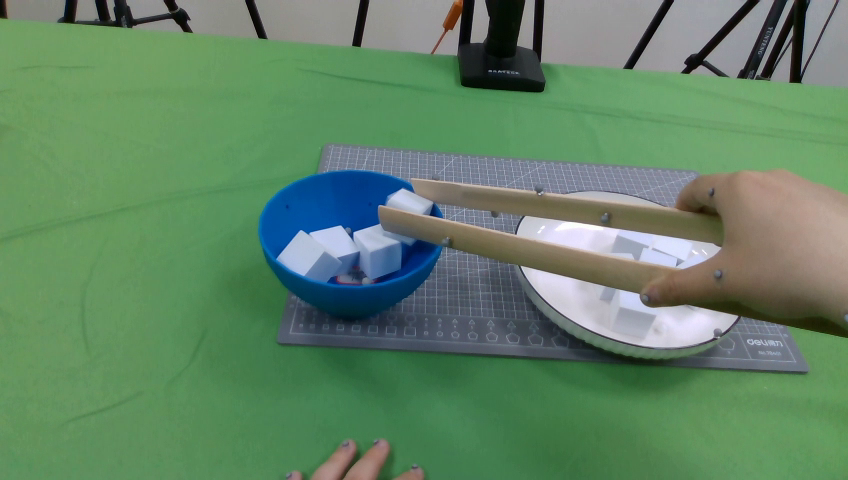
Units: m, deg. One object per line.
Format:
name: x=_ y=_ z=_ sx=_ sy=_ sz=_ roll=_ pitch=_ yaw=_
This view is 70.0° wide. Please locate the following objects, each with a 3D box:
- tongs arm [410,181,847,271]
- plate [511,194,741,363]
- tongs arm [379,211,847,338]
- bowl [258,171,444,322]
tongs arm: x=0.144 y=-0.001 z=0.406 sx=0.382 sy=0.027 sz=0.050 roll=9 pitch=41 yaw=30
plate: x=0.180 y=0.034 z=0.558 sx=0.208 sy=0.039 sz=0.205 roll=4 pitch=41 yaw=-3
tongs arm: x=0.128 y=0.017 z=0.388 sx=0.385 sy=0.028 sz=0.028 roll=11 pitch=39 yaw=32
bowl: x=-0.060 y=0.016 z=0.513 sx=0.151 sy=0.077 sz=0.150 roll=4 pitch=41 yaw=-3
